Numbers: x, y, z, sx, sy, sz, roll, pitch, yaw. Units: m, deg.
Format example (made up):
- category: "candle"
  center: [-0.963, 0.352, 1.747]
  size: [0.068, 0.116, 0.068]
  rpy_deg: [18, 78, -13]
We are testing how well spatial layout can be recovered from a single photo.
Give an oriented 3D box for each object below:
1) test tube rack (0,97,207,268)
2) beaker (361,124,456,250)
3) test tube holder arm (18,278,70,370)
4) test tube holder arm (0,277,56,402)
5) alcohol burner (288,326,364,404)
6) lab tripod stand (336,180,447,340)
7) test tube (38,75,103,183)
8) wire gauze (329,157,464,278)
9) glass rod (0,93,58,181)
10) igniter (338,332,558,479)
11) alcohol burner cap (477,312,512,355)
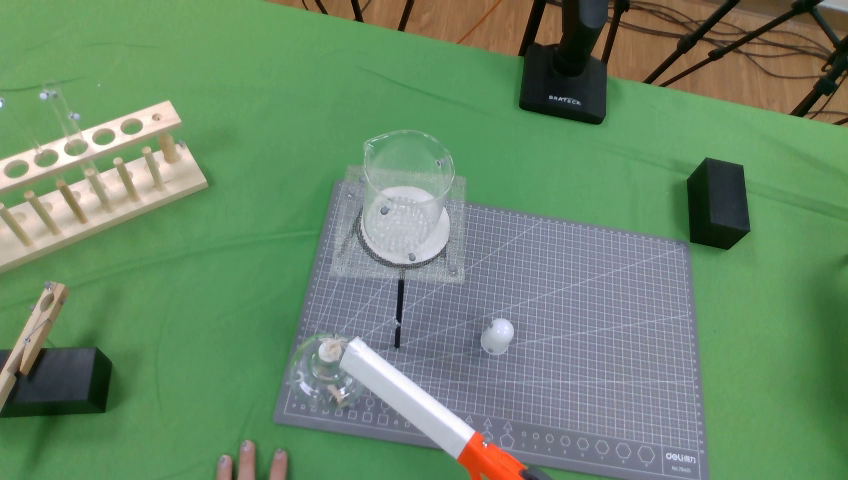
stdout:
- category: "test tube rack"
  center: [-0.370, -0.061, 0.650]
  size: [0.242, 0.086, 0.066]
  rpy_deg: [-27, 69, -21]
- category: "beaker"
  center: [-0.021, -0.043, 0.529]
  size: [0.083, 0.101, 0.074]
  rpy_deg: [33, 63, 9]
- category: "test tube holder arm"
  center: [-0.355, 0.077, 0.562]
  size: [0.010, 0.015, 0.087]
  rpy_deg: [13, 60, 0]
- category: "test tube holder arm"
  center: [-0.369, 0.114, 0.540]
  size: [0.013, 0.015, 0.177]
  rpy_deg: [12, 60, -1]
- category: "alcohol burner"
  center: [-0.091, 0.113, 0.577]
  size: [0.078, 0.120, 0.077]
  rpy_deg: [4, 60, -8]
- category: "lab tripod stand"
  center: [-0.028, 0.014, 0.628]
  size: [0.149, 0.132, 0.147]
  rpy_deg: [4, 62, -8]
- category: "test tube"
  center: [-0.358, -0.107, 0.620]
  size: [0.017, 0.151, 0.017]
  rpy_deg: [5, 57, -7]
- category: "wire gauze"
  center: [-0.023, -0.021, 0.573]
  size: [0.121, 0.011, 0.124]
  rpy_deg: [5, 65, -4]
- category: "glass rod"
  center: [-0.392, -0.104, 0.593]
  size: [0.008, 0.201, 0.008]
  rpy_deg: [1, 55, -1]
- category: "igniter"
  center: [0.042, 0.169, 0.492]
  size: [0.275, 0.057, 0.025]
  rpy_deg: [35, 34, 14]
- category: "alcohol burner cap"
  center: [0.078, 0.099, 0.650]
  size: [0.034, 0.048, 0.033]
  rpy_deg: [8, 44, -7]
